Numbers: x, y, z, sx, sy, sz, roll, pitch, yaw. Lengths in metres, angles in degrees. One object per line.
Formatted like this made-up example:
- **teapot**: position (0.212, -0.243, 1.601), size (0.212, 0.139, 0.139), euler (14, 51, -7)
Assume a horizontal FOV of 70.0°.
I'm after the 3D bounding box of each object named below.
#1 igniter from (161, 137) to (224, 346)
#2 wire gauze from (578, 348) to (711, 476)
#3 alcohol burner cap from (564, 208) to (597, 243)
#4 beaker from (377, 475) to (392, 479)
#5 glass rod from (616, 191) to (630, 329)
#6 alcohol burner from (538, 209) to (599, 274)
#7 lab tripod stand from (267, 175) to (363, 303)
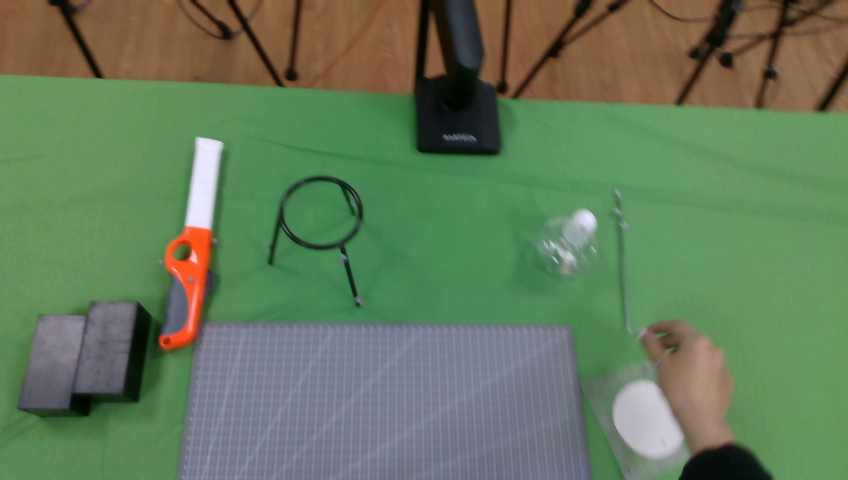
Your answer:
- **igniter**: position (-0.279, -0.005, 0.741), size (0.057, 0.025, 0.274), euler (9, 64, -19)
- **wire gauze**: position (0.264, 0.202, 0.724), size (0.125, 0.011, 0.120), euler (-16, 69, -11)
- **alcohol burner cap**: position (0.187, -0.019, 0.716), size (0.034, 0.048, 0.033), euler (1, 70, -3)
- **beaker**: position (-0.040, 0.271, 0.572), size (0.074, 0.101, 0.083), euler (1, 63, -7)
- **glass rod**: position (0.263, 0.022, 0.804), size (0.008, 0.008, 0.198), euler (7, 66, -4)
- **alcohol burner**: position (0.183, -0.004, 0.749), size (0.078, 0.120, 0.077), euler (3, 63, -5)
- **lab tripod stand**: position (-0.116, -0.008, 0.704), size (0.148, 0.132, 0.147), euler (2, 64, -4)
